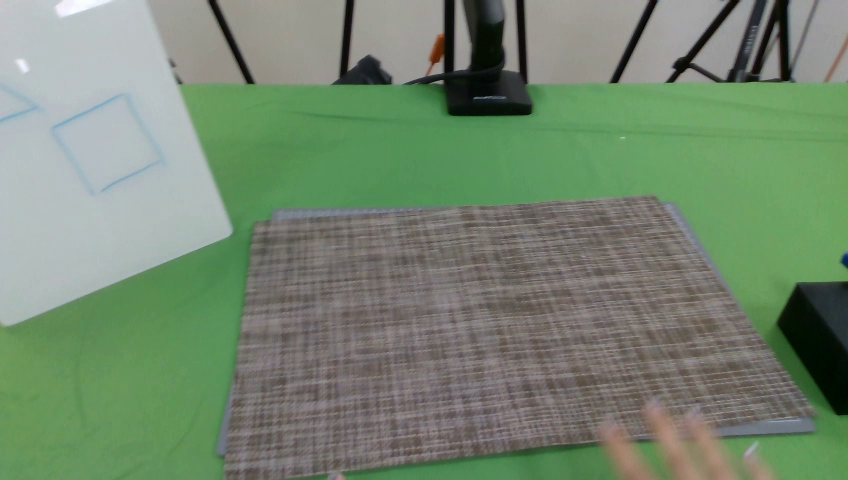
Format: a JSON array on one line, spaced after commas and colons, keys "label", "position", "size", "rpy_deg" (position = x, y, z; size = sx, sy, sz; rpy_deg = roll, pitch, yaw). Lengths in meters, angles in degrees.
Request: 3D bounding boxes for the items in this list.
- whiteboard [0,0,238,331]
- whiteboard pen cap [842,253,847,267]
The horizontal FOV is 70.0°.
[{"label": "whiteboard", "position": [-0.345, -0.114, 0.565], "size": [0.217, 0.308, 0.142], "rpy_deg": [-26, 28, -29]}, {"label": "whiteboard pen cap", "position": [0.380, 0.025, 0.522], "size": [0.018, 0.018, 0.033], "rpy_deg": [-5, 39, -7]}]
